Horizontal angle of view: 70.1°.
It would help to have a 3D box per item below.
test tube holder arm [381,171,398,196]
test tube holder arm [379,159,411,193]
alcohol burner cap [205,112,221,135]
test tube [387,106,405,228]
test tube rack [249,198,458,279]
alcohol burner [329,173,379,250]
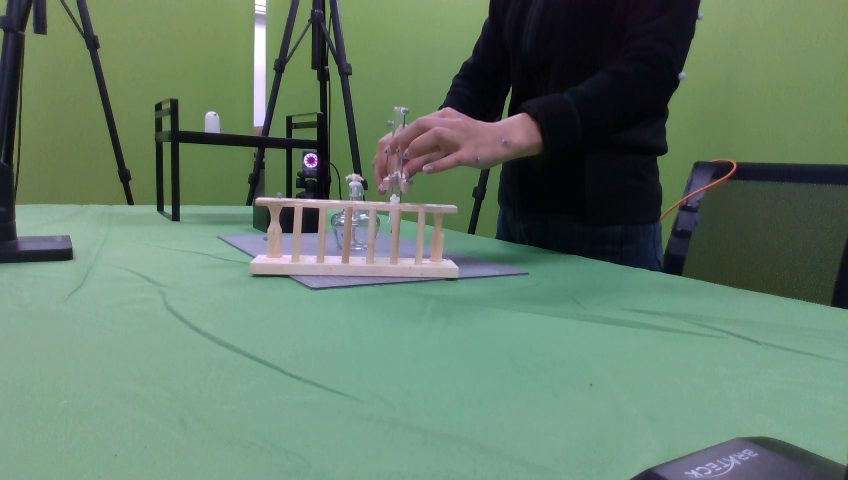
[{"bbox_3d":[-0.043,-0.074,0.780,0.010,0.015,0.088,-4,18,8],"label":"test tube holder arm"},{"bbox_3d":[-0.041,-0.088,0.822,0.013,0.015,0.178,-8,19,-10],"label":"test tube holder arm"},{"bbox_3d":[-0.443,-0.245,1.270,0.034,0.048,0.034,3,8,0],"label":"alcohol burner cap"},{"bbox_3d":[-0.035,-0.089,0.748,0.017,0.150,0.017,3,6,0],"label":"test tube"},{"bbox_3d":[-0.082,-0.002,0.732,0.243,0.085,0.066,2,8,-7],"label":"test tube rack"},{"bbox_3d":[-0.108,-0.044,0.938,0.078,0.119,0.078,1,6,0],"label":"alcohol burner"}]
